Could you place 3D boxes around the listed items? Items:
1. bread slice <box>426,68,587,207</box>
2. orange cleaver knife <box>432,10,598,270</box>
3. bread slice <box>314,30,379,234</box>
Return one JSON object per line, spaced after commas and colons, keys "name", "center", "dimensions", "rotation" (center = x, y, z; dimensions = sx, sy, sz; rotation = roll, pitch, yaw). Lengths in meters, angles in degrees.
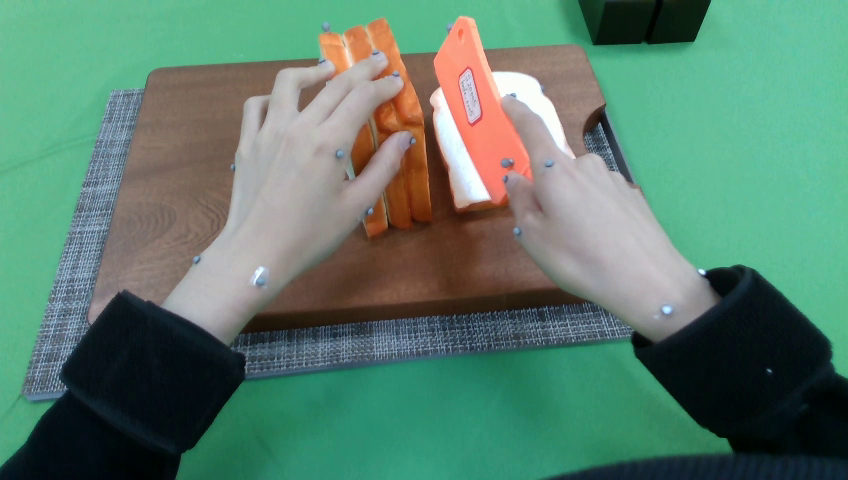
{"name": "bread slice", "center": [0.059, -0.087, 0.483], "dimensions": [0.105, 0.019, 0.130], "rotation": [-11, 58, -7]}
{"name": "orange cleaver knife", "center": [0.051, -0.063, 0.402], "dimensions": [0.012, 0.077, 0.209], "rotation": [-14, 64, -22]}
{"name": "bread slice", "center": [-0.056, -0.084, 0.436], "dimensions": [0.018, 0.108, 0.133], "rotation": [-12, 47, -9]}
